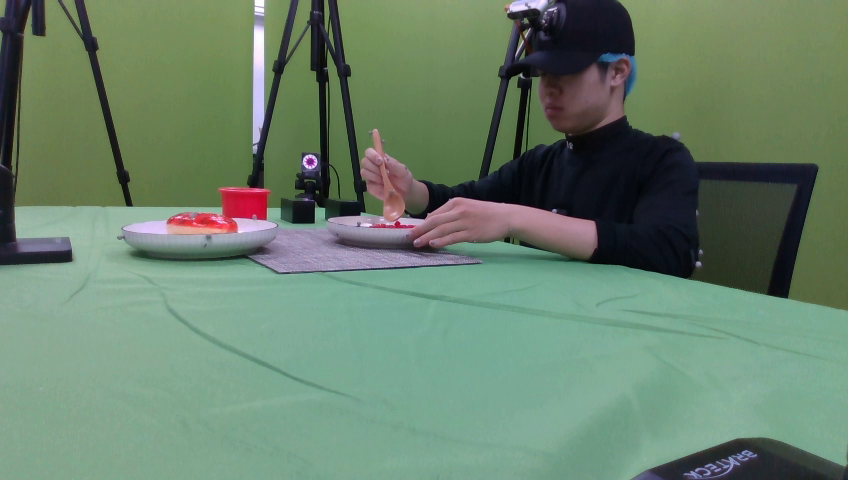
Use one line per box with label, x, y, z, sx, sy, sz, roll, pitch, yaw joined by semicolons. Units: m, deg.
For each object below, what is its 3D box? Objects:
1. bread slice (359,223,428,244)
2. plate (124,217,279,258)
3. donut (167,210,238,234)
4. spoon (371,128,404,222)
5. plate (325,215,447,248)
bread slice;-0.062;-0.012;1.035;0.105;0.019;0.131;0;10;-19
plate;-0.315;-0.004;0.871;0.208;0.039;0.207;1;8;0
donut;-0.321;-0.017;0.882;0.099;0.048;0.099;3;6;0
spoon;-0.067;-0.113;1.015;0.041;0.193;0.022;-25;-26;22
plate;-0.065;-0.015;1.035;0.209;0.038;0.209;3;8;0
